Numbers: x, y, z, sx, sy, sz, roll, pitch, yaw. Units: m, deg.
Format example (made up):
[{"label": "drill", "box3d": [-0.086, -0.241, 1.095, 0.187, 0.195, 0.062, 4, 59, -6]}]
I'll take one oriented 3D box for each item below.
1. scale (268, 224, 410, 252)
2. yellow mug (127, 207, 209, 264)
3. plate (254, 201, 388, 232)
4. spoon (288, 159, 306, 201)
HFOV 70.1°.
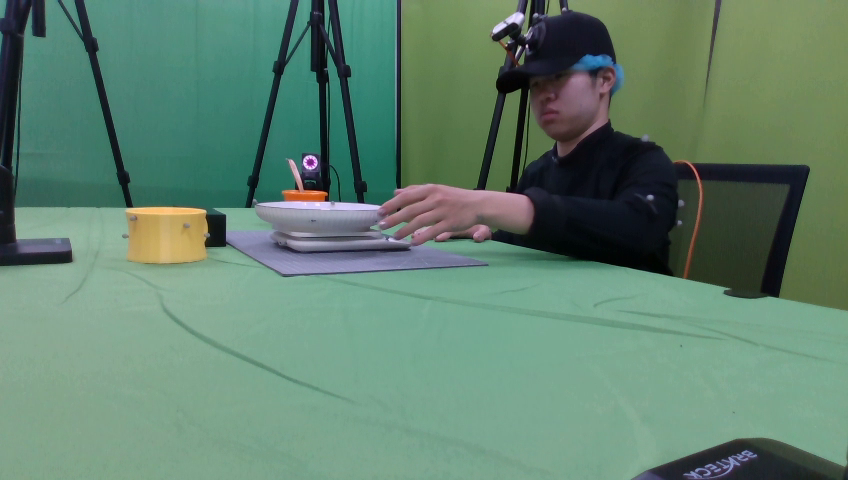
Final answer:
[{"label": "scale", "box3d": [-0.137, -0.006, 0.979, 0.202, 0.031, 0.148, -1, 9, -30]}, {"label": "yellow mug", "box3d": [-0.339, -0.009, 0.827, 0.100, 0.064, 0.131, 5, 7, 17]}, {"label": "plate", "box3d": [-0.161, -0.038, 0.961, 0.209, 0.038, 0.209, 2, 6, 0]}, {"label": "spoon", "box3d": [-0.260, -0.103, 1.268, 0.042, 0.193, 0.021, 3, -39, -33]}]
